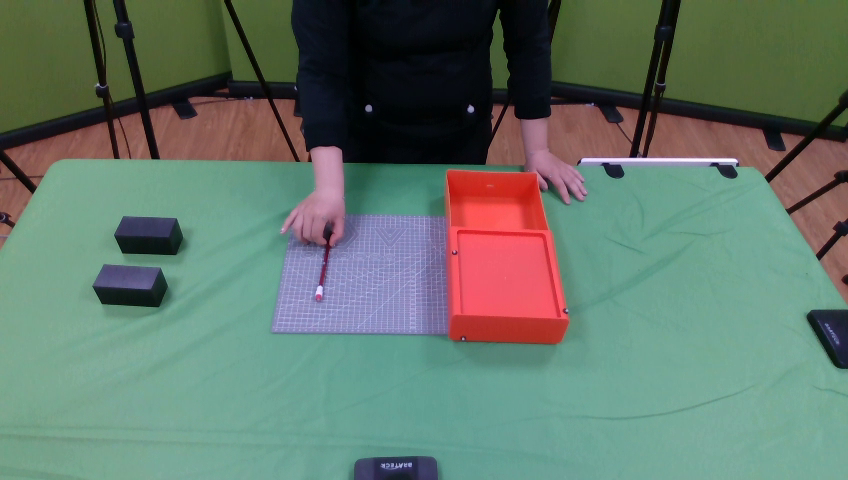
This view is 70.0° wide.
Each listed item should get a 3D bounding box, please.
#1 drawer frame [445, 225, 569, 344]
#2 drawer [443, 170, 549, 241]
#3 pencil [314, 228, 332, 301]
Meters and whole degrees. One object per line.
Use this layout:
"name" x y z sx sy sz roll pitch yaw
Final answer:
"drawer frame" 0.141 0.076 1.089 0.202 0.083 0.212 2 46 -3
"drawer" 0.140 -0.049 1.217 0.194 0.073 0.210 2 43 -3
"pencil" -0.189 0.041 1.148 0.012 0.012 0.193 4 44 -1
